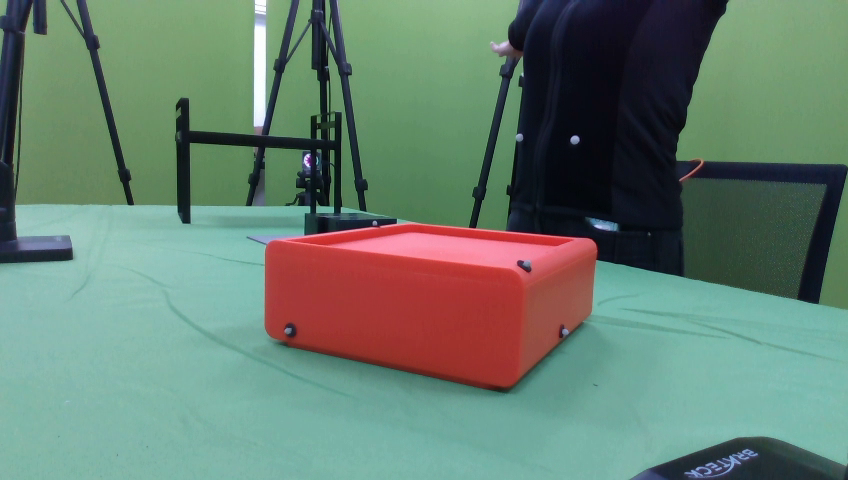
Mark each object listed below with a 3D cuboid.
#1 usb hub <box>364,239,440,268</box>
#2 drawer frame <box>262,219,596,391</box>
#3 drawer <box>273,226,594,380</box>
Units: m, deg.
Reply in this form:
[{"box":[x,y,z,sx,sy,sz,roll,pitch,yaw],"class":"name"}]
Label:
[{"box":[-0.028,0.017,0.829,0.049,0.025,0.126,5,7,29],"class":"usb hub"},{"box":[0.017,0.036,0.495,0.201,0.082,0.214,6,9,26],"class":"drawer frame"},{"box":[0.019,0.038,0.498,0.194,0.073,0.212,7,9,27],"class":"drawer"}]
